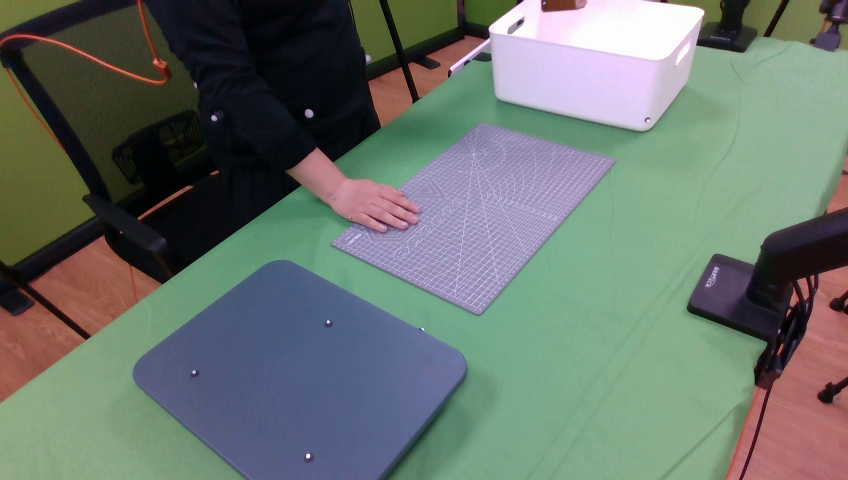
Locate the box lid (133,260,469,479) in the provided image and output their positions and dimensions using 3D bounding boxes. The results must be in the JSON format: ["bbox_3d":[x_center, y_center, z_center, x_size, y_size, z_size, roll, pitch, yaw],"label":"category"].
[{"bbox_3d":[-0.156,0.160,0.747,0.368,0.015,0.264,23,49,31],"label":"box lid"}]

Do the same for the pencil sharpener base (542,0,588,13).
[{"bbox_3d":[0.254,-0.479,1.111,0.076,0.107,0.061,7,28,31],"label":"pencil sharpener base"}]

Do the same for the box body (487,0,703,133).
[{"bbox_3d":[0.346,-0.374,1.251,0.361,0.161,0.255,20,48,29],"label":"box body"}]
